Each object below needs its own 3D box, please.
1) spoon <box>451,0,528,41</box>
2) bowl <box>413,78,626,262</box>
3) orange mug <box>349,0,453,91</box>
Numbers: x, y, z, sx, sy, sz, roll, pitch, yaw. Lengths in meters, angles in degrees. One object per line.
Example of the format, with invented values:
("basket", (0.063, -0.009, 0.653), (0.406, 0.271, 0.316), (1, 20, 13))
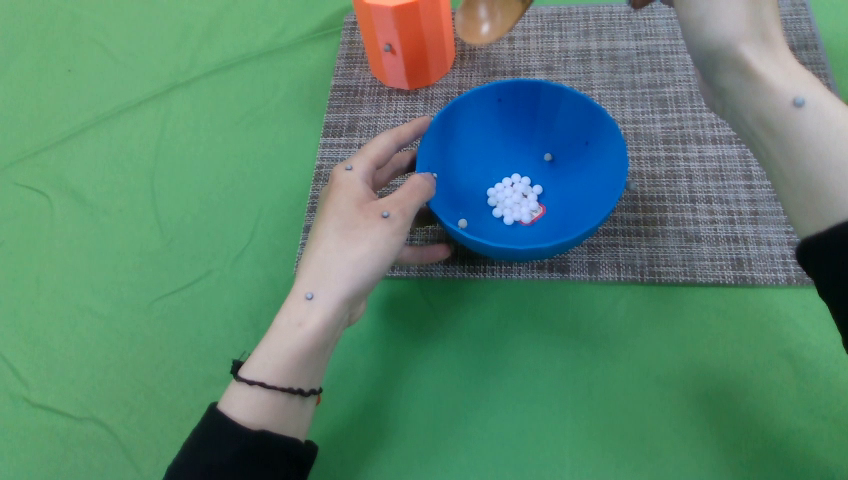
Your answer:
("spoon", (0.088, -0.172, 0.367), (0.022, 0.193, 0.041), (6, 76, -39))
("bowl", (0.071, -0.040, 0.462), (0.151, 0.077, 0.150), (-3, 61, 6))
("orange mug", (-0.016, -0.218, 0.560), (0.083, 0.101, 0.125), (11, 68, 14))
